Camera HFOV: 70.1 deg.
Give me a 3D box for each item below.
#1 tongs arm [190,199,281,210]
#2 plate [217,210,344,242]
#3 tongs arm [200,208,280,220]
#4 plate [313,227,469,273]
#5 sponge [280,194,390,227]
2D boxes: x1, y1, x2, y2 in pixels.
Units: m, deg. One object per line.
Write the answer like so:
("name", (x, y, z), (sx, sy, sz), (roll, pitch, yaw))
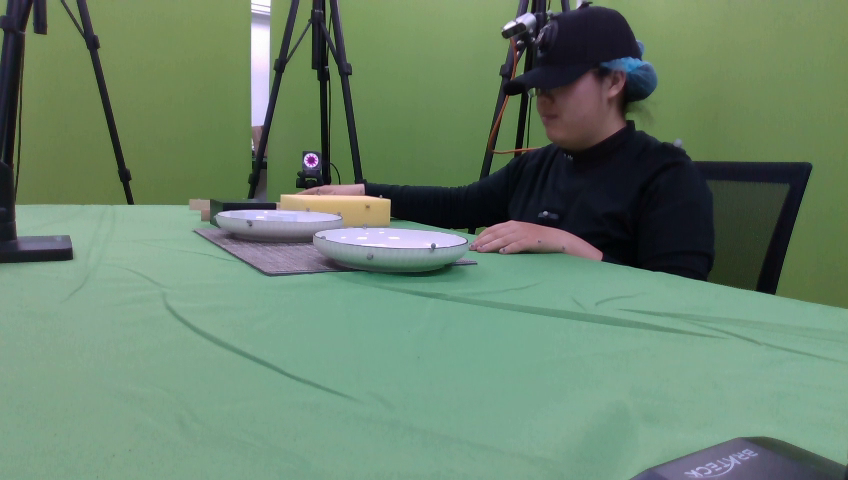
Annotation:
("tongs arm", (-0.341, -0.075, 1.419), (0.387, 0.026, 0.050), (0, 8, -25))
("plate", (-0.241, -0.024, 1.026), (0.208, 0.039, 0.207), (3, 7, 0))
("tongs arm", (-0.302, -0.060, 1.350), (0.390, 0.028, 0.028), (-3, 7, -38))
("plate", (-0.044, 0.012, 0.807), (0.209, 0.038, 0.209), (2, 7, 0))
("sponge", (-0.188, -0.064, 1.291), (0.208, 0.061, 0.117), (-2, 9, -35))
